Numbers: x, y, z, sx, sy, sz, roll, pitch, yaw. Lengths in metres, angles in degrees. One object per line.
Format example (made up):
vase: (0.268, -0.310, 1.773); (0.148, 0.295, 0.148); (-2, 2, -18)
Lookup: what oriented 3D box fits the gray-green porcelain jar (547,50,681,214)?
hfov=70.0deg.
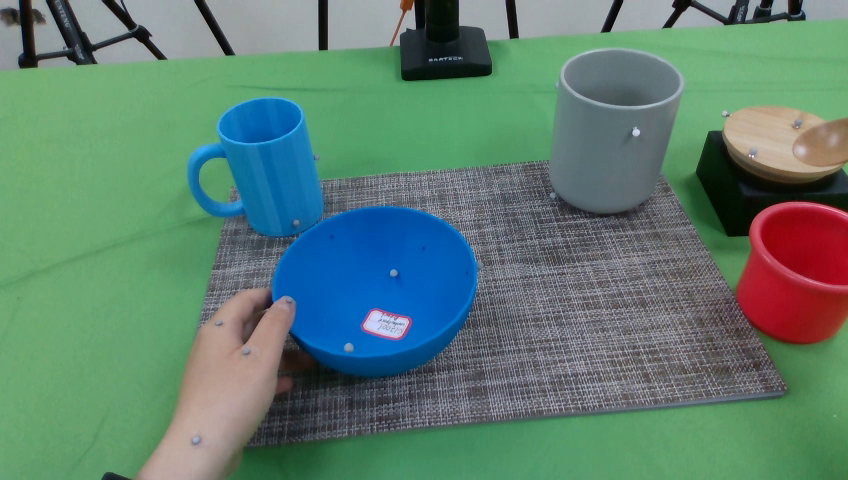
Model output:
gray-green porcelain jar: (0.173, -0.096, 0.572); (0.106, 0.127, 0.105); (-2, 44, 2)

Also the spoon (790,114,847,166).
spoon: (0.305, -0.082, 0.344); (0.022, 0.193, 0.041); (32, 67, -14)

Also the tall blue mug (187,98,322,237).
tall blue mug: (-0.153, -0.059, 0.564); (0.077, 0.109, 0.107); (31, 54, 29)

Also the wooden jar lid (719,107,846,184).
wooden jar lid: (0.332, -0.088, 0.565); (0.108, 0.021, 0.107); (-2, 44, 2)

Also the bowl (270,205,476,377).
bowl: (-0.035, 0.051, 0.467); (0.151, 0.077, 0.150); (-1, 44, 2)
